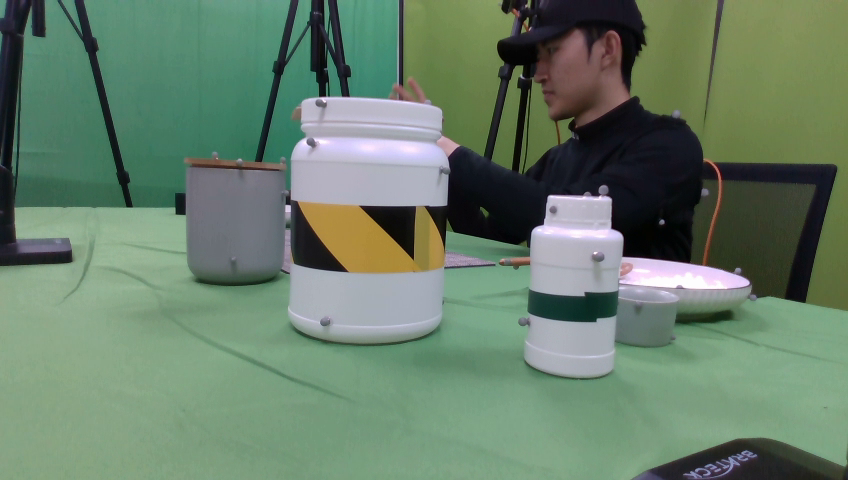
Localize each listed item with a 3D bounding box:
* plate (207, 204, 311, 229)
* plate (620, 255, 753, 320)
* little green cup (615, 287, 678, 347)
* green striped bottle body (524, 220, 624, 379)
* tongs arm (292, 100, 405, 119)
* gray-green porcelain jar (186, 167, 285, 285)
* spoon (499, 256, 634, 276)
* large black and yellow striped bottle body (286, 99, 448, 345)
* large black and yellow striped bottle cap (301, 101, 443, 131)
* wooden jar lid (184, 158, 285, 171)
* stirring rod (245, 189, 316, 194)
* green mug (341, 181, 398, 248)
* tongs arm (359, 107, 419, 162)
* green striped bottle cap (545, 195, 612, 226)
[{"bbox_3d":[-0.342,-0.050,1.259,0.208,0.039,0.207,2,7,0],"label":"plate"},{"bbox_3d":[0.234,0.049,0.651,0.209,0.038,0.209,2,7,0],"label":"plate"},{"bbox_3d":[0.180,0.064,0.506,0.061,0.038,0.061,1,8,0],"label":"little green cup"},{"bbox_3d":[0.104,0.031,0.422,0.063,0.119,0.063,2,7,0],"label":"green striped bottle body"},{"bbox_3d":[-0.128,-0.256,1.208,0.050,0.026,0.386,33,26,13],"label":"tongs arm"},{"bbox_3d":[-0.212,-0.017,0.682,0.106,0.126,0.106,2,7,0],"label":"gray-green porcelain jar"},{"bbox_3d":[0.162,0.027,0.679,0.195,0.021,0.041,8,2,-30],"label":"spoon"},{"bbox_3d":[-0.047,-0.018,0.501,0.131,0.184,0.130,2,7,0],"label":"large black and yellow striped bottle body"},{"bbox_3d":[-0.042,-0.100,0.491,0.115,0.019,0.115,1,8,0],"label":"large black and yellow striped bottle cap"},{"bbox_3d":[-0.210,-0.078,0.674,0.108,0.020,0.108,4,6,0],"label":"wooden jar lid"},{"bbox_3d":[-0.351,-0.120,1.489,0.177,0.014,0.006,-2,6,-29],"label":"stirring rod"},{"bbox_3d":[-0.089,-0.044,0.997,0.093,0.105,0.125,1,7,-8],"label":"green mug"},{"bbox_3d":[-0.062,-0.214,1.197,0.028,0.027,0.388,25,25,4],"label":"tongs arm"},{"bbox_3d":[0.106,-0.020,0.414,0.044,0.020,0.044,2,4,0],"label":"green striped bottle cap"}]
